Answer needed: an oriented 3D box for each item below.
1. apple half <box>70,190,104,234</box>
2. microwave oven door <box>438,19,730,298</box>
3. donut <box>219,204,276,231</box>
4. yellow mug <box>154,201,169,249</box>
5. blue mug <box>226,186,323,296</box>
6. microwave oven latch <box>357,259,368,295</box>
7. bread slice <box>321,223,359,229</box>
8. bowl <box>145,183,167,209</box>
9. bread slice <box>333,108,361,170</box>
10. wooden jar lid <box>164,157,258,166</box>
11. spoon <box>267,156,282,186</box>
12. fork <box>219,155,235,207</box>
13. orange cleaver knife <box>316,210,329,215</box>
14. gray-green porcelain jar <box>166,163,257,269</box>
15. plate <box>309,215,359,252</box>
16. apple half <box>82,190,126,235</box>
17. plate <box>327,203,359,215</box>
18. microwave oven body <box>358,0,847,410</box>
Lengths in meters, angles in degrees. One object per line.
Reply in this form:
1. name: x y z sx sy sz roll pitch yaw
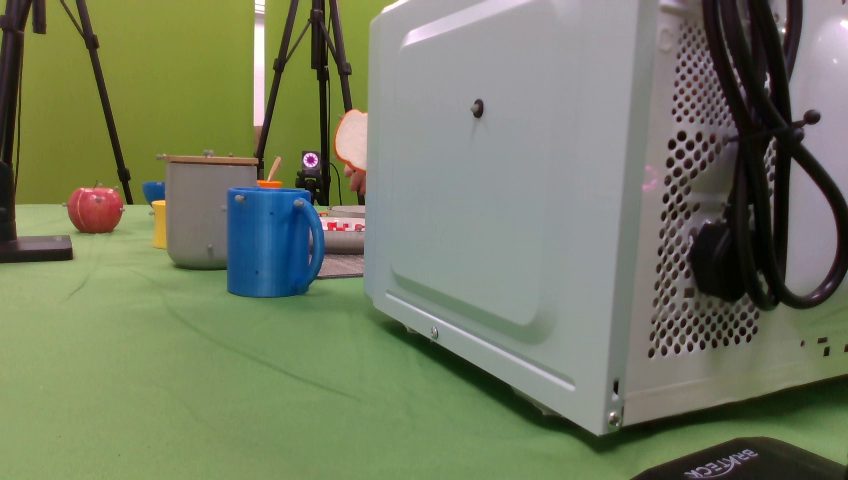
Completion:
1. apple half: -0.552 -0.047 1.009 0.053 0.074 0.081 -1 9 26
2. microwave oven door: 0.181 -0.076 0.618 0.358 0.243 0.039 -2 8 -28
3. donut: -0.316 -0.039 1.083 0.099 0.048 0.099 2 7 0
4. yellow mug: -0.338 -0.022 0.899 0.130 0.064 0.100 8 9 34
5. blue mug: -0.148 0.000 0.618 0.116 0.106 0.083 7 9 33
6. microwave oven latch: -0.019 0.031 0.529 0.079 0.029 0.030 -1 7 -26
7. bread slice: -0.124 -0.010 0.938 0.131 0.019 0.105 7 9 31
8. bowl: -0.459 -0.068 1.175 0.151 0.077 0.151 2 7 0
9. bread slice: -0.088 -0.169 1.041 0.135 0.107 0.018 24 -8 -17
10. wooden jar lid: -0.261 -0.093 0.746 0.108 0.020 0.108 0 9 0
11. spoon: -0.391 -0.150 1.547 0.041 0.193 0.021 3 -37 8
12. fork: -0.459 -0.134 1.415 0.028 0.018 0.207 -1 -34 -24
13. orange cleaver knife: -0.259 -0.064 1.423 0.212 0.012 0.077 -4 3 -30
14. gray-green porcelain jar: -0.263 -0.031 0.754 0.106 0.126 0.106 2 7 0
15. plate: -0.130 -0.011 0.945 0.208 0.039 0.207 2 8 0
16. apple half: -0.517 -0.046 0.994 0.032 0.081 0.081 0 6 26
17. plate: -0.102 -0.053 1.299 0.209 0.038 0.209 2 8 0
18. microwave oven body: 0.210 -0.051 0.471 0.444 0.260 0.324 -1 7 -28
